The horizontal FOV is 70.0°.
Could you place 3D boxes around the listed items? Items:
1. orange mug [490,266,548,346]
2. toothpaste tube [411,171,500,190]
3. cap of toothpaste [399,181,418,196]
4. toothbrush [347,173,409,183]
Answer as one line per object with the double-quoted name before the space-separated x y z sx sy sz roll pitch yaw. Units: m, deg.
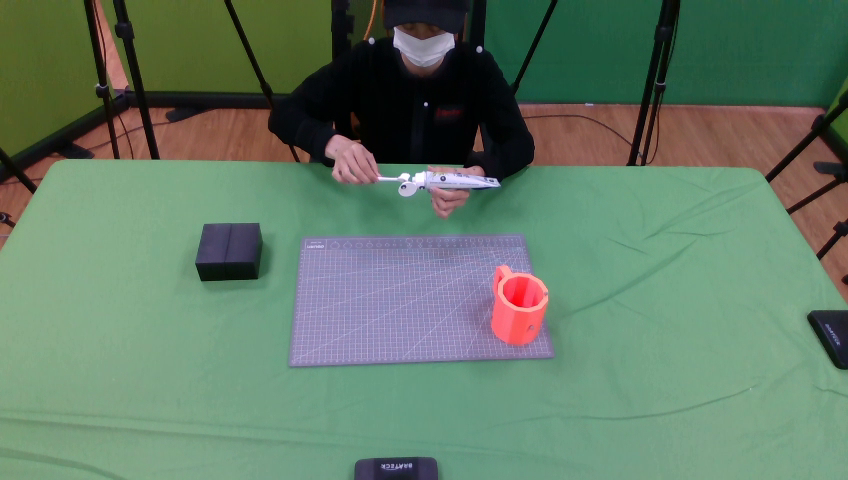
"orange mug" 0.155 0.107 1.051 0.083 0.101 0.125 -15 53 -18
"toothpaste tube" 0.058 -0.111 1.141 0.165 0.034 0.055 0 25 -5
"cap of toothpaste" -0.030 -0.097 1.121 0.037 0.037 0.011 -8 49 -12
"toothbrush" -0.094 -0.121 1.191 0.181 0.014 0.016 5 65 46
